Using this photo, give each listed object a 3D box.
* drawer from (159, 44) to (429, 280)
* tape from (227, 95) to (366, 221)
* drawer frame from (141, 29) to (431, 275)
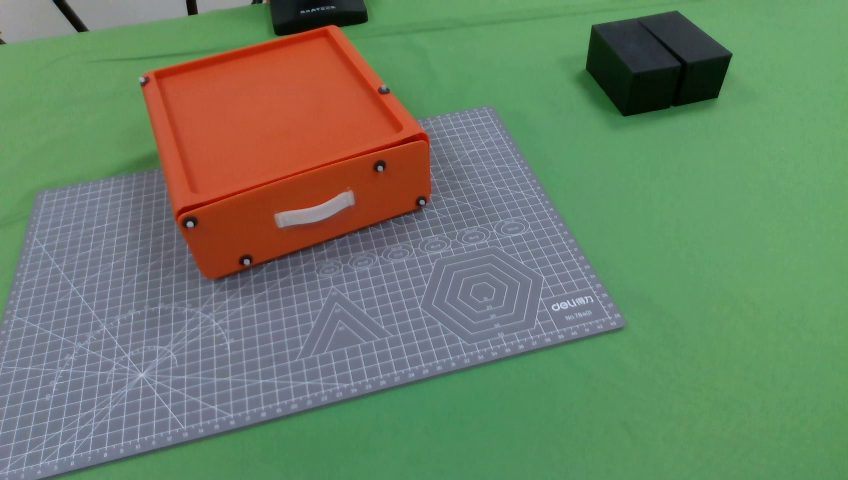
[{"bbox_3d":[-0.125,-0.084,0.540,0.195,0.074,0.209,-21,47,-15],"label":"drawer"},{"bbox_3d":[-0.112,-0.075,0.535,0.117,0.053,0.115,-1,48,2],"label":"tape"},{"bbox_3d":[-0.128,-0.090,0.544,0.202,0.083,0.211,-21,47,-16],"label":"drawer frame"}]
